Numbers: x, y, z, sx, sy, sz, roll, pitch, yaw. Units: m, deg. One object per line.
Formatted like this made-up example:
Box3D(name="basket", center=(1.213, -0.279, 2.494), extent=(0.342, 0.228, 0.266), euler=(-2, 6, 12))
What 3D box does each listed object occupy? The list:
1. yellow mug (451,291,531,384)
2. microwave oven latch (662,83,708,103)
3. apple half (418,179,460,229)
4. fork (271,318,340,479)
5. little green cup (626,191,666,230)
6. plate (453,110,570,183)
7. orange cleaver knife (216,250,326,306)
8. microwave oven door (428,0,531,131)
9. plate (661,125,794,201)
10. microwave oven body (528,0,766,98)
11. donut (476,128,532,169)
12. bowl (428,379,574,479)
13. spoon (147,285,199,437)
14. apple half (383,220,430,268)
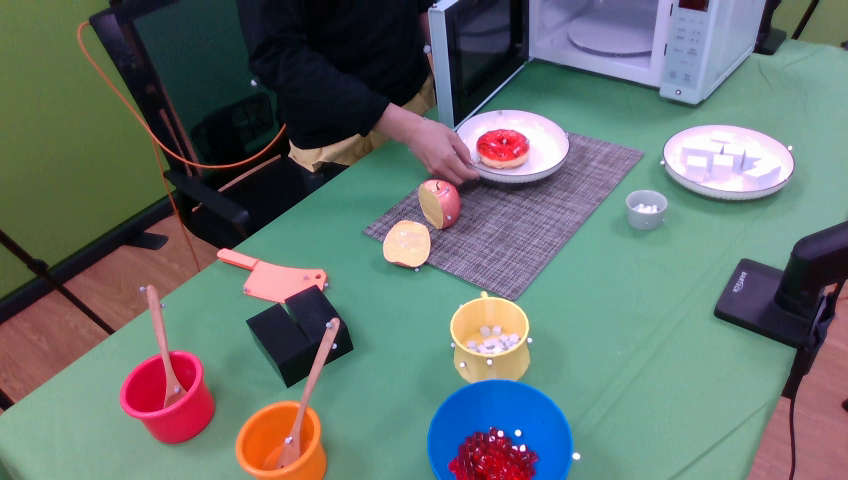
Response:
Box3D(name="yellow mug", center=(0.085, 0.120, 0.786), extent=(0.100, 0.064, 0.130), euler=(-7, 39, 1))
Box3D(name="microwave oven latch", center=(0.517, -0.296, 1.204), extent=(0.078, 0.029, 0.030), euler=(27, 52, 35))
Box3D(name="apple half", center=(0.032, -0.062, 0.998), extent=(0.053, 0.075, 0.080), euler=(-23, 39, -23))
Box3D(name="fork", center=(-0.132, 0.186, 0.676), extent=(0.028, 0.019, 0.207), euler=(17, 90, 28))
Box3D(name="little green cup", center=(0.352, -0.046, 0.963), extent=(0.061, 0.039, 0.061), euler=(-4, 40, 4))
Box3D(name="plate", center=(0.156, -0.165, 1.092), extent=(0.209, 0.038, 0.208), euler=(0, 43, 0))
Box3D(name="orange cleaver knife", center=(-0.248, 0.058, 0.945), extent=(0.210, 0.012, 0.077), euler=(12, 49, 20))
Box3D(name="microwave oven door", center=(0.127, -0.418, 1.249), extent=(0.039, 0.245, 0.356), euler=(18, 47, 28))
Box3D(name="plate", center=(0.513, -0.128, 1.035), extent=(0.207, 0.039, 0.206), euler=(-4, 40, 4))
Box3D(name="microwave oven body", center=(0.472, -0.513, 1.317), extent=(0.438, 0.261, 0.327), euler=(25, 51, 34))
Box3D(name="donut", center=(0.142, -0.164, 1.075), extent=(0.099, 0.048, 0.098), euler=(-1, 44, 2))
Box3D(name="bowl", center=(0.082, 0.233, 0.644), extent=(0.151, 0.077, 0.150), euler=(-4, 39, 4))
Box3D(name="spoon", center=(-0.318, 0.148, 0.754), extent=(0.042, 0.021, 0.193), euler=(-15, 85, -10))
Box3D(name="apple half", center=(-0.022, 0.009, 0.948), extent=(0.081, 0.033, 0.081), euler=(-4, 73, 13))
